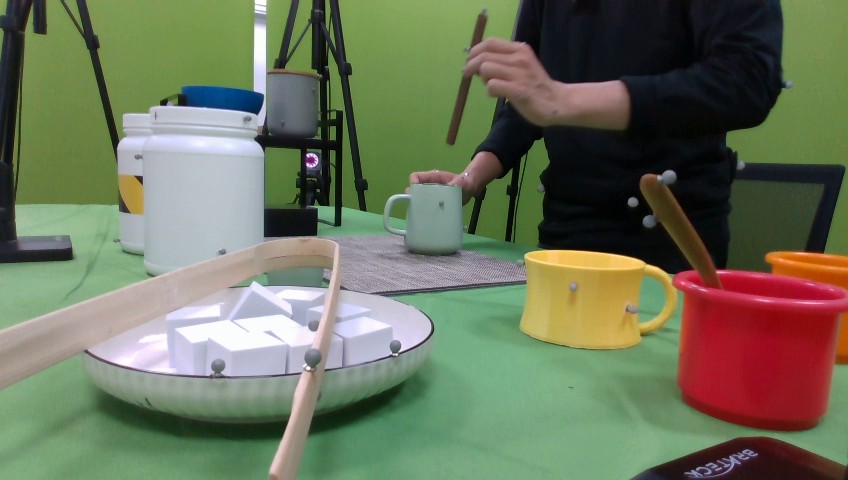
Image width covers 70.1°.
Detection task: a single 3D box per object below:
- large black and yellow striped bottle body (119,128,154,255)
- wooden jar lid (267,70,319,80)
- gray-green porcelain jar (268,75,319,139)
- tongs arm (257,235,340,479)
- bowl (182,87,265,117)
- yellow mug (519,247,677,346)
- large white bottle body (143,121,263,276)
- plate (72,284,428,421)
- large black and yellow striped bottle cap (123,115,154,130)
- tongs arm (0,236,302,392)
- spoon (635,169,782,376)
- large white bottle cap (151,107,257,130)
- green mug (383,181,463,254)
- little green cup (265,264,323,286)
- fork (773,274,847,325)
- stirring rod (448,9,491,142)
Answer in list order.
[{"bbox_3d":[-0.355,-0.076,0.850,0.131,0.184,0.130,2,8,0],"label":"large black and yellow striped bottle body"},{"bbox_3d":[-0.275,-0.340,1.271,0.108,0.020,0.108,5,6,0],"label":"wooden jar lid"},{"bbox_3d":[-0.277,-0.279,1.280,0.106,0.126,0.106,2,8,0],"label":"gray-green porcelain jar"},{"bbox_3d":[-0.074,0.040,0.345,0.051,0.026,0.384,-1,10,-3],"label":"tongs arm"},{"bbox_3d":[-0.383,-0.243,1.158,0.151,0.077,0.151,2,7,0],"label":"bowl"},{"bbox_3d":[0.148,0.045,0.513,0.131,0.064,0.100,3,7,0],"label":"yellow mug"},{"bbox_3d":[-0.254,-0.054,0.702,0.131,0.184,0.130,2,8,0],"label":"large white bottle body"},{"bbox_3d":[-0.102,0.067,0.381,0.208,0.039,0.207,3,7,0],"label":"plate"},{"bbox_3d":[-0.353,-0.159,0.838,0.115,0.019,0.115,2,6,0],"label":"large black and yellow striped bottle cap"},{"bbox_3d":[-0.157,0.038,0.347,0.028,0.028,0.388,-3,8,11],"label":"tongs arm"},{"bbox_3d":[0.161,0.026,0.346,0.021,0.194,0.041,-51,32,-20],"label":"spoon"},{"bbox_3d":[-0.250,-0.138,0.692,0.115,0.018,0.115,3,7,0],"label":"large white bottle cap"},{"bbox_3d":[-0.001,-0.036,0.922,0.126,0.105,0.092,0,8,-16],"label":"green mug"},{"bbox_3d":[-0.134,0.033,0.628,0.061,0.038,0.061,3,7,0],"label":"little green cup"},{"bbox_3d":[0.332,0.018,0.443,0.028,0.018,0.207,-1,-36,-14],"label":"fork"},{"bbox_3d":[0.058,-0.212,0.794,0.014,0.176,0.006,27,28,24],"label":"stirring rod"}]
